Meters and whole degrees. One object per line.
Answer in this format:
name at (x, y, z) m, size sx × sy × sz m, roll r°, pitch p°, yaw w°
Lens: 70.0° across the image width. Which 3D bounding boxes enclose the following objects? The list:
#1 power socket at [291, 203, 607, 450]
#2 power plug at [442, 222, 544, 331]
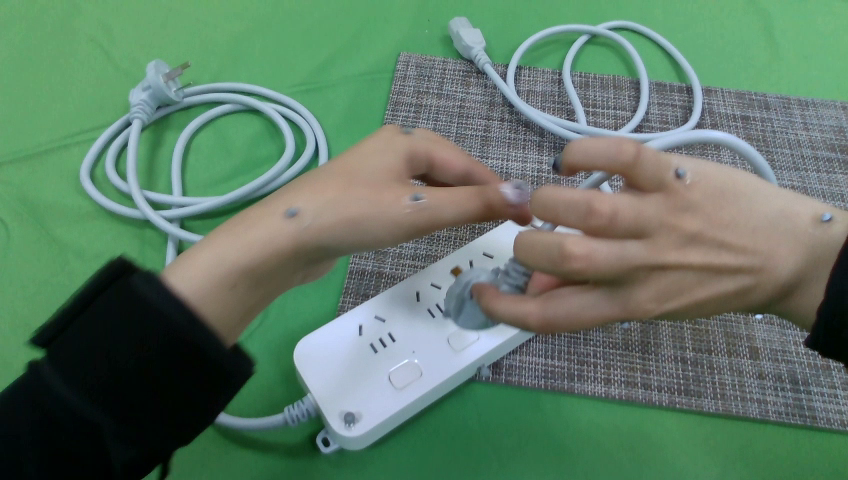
power socket at (0.021, 0.048, 0.389) m, size 0.227 × 0.033 × 0.071 m, roll -29°, pitch 61°, yaw -19°
power plug at (0.039, 0.019, 0.338) m, size 0.072 × 0.035 × 0.052 m, roll -52°, pitch 37°, yaw 1°
